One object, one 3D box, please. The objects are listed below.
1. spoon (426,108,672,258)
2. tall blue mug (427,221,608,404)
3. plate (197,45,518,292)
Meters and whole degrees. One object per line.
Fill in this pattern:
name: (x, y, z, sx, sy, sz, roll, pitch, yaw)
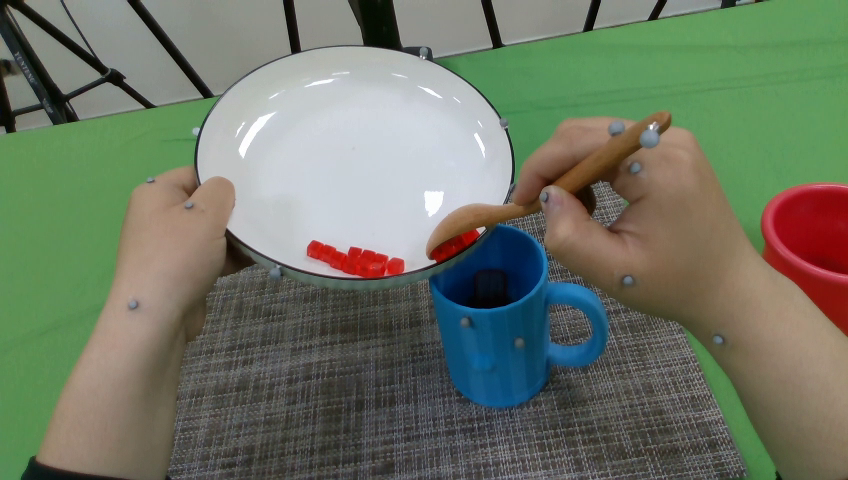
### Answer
spoon: (0.048, -0.020, 0.291, 0.041, 0.022, 0.193, -36, 6, -27)
tall blue mug: (0.062, 0.048, 0.416, 0.107, 0.109, 0.077, -14, 43, -1)
plate: (-0.042, -0.051, 0.411, 0.208, 0.039, 0.205, 3, 55, -4)
